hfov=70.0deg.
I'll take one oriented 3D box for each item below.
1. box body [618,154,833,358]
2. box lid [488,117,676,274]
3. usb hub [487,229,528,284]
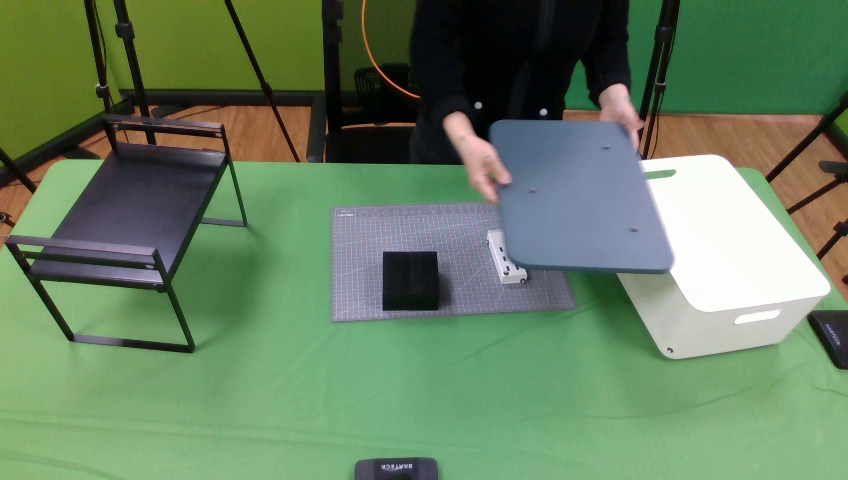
[{"bbox_3d":[0.497,0.022,1.112,0.254,0.161,0.361,-7,47,-10],"label":"box body"},{"bbox_3d":[0.250,-0.090,1.018,0.263,0.015,0.369,2,47,-3],"label":"box lid"},{"bbox_3d":[0.158,0.030,1.173,0.049,0.025,0.124,-6,47,-9],"label":"usb hub"}]
